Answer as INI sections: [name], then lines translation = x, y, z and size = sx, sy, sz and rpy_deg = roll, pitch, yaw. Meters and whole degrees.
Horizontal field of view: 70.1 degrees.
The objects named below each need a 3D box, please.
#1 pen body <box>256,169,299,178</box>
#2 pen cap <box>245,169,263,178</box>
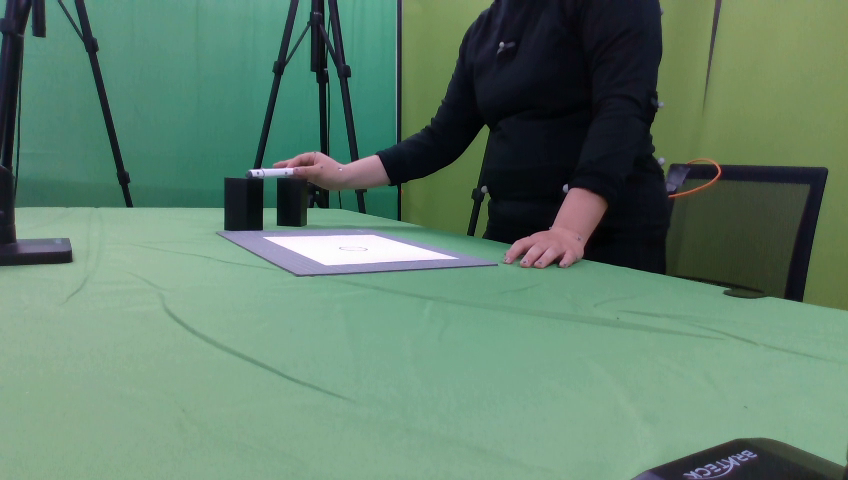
[pen body]
translation = -0.303, -0.132, 1.210
size = 0.017, 0.017, 0.145
rpy_deg = 7, 7, 28
[pen cap]
translation = -0.325, -0.125, 1.153
size = 0.017, 0.017, 0.038
rpy_deg = 6, 10, 22
